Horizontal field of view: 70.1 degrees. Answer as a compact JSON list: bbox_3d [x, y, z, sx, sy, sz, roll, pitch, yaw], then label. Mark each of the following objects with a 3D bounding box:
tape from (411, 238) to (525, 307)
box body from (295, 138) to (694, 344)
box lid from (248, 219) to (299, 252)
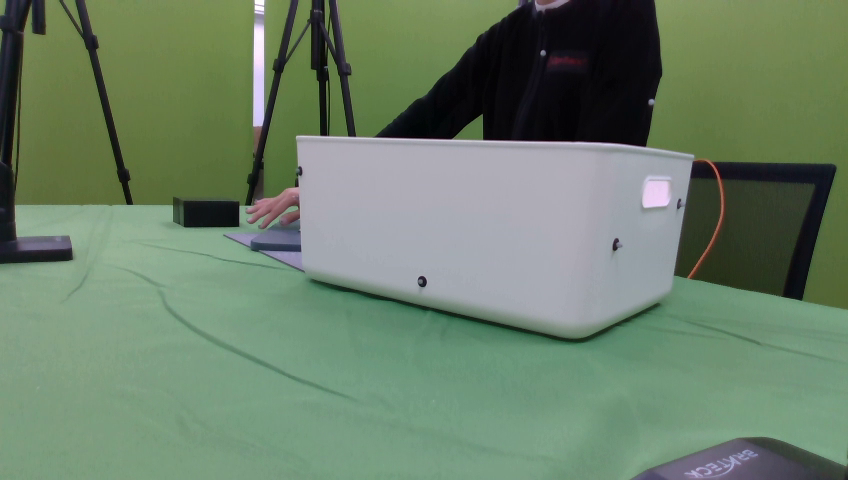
[{"bbox_3d":[0.044,0.031,0.629,0.117,0.052,0.117,3,8,0],"label":"tape"},{"bbox_3d":[0.065,-0.020,0.653,0.362,0.160,0.255,9,9,36],"label":"box body"},{"bbox_3d":[-0.146,-0.008,1.066,0.264,0.015,0.371,3,7,-6],"label":"box lid"}]
